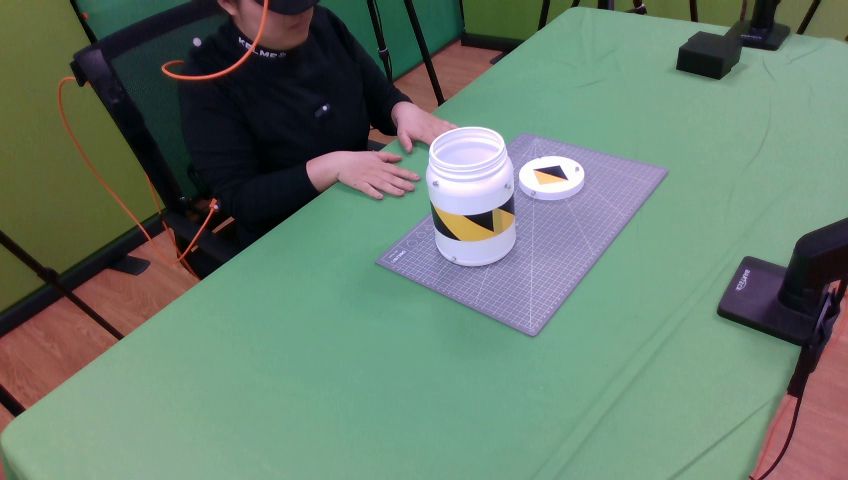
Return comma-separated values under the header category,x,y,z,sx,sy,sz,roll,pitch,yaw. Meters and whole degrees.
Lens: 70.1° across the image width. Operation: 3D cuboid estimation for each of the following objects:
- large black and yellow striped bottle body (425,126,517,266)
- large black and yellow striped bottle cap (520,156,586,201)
category,x,y,z,sx,sy,sz,roll,pitch,yaw
large black and yellow striped bottle body,0.072,-0.066,0.917,0.131,0.185,0.130,-5,40,5
large black and yellow striped bottle cap,0.228,-0.111,1.072,0.115,0.019,0.114,-6,40,6
